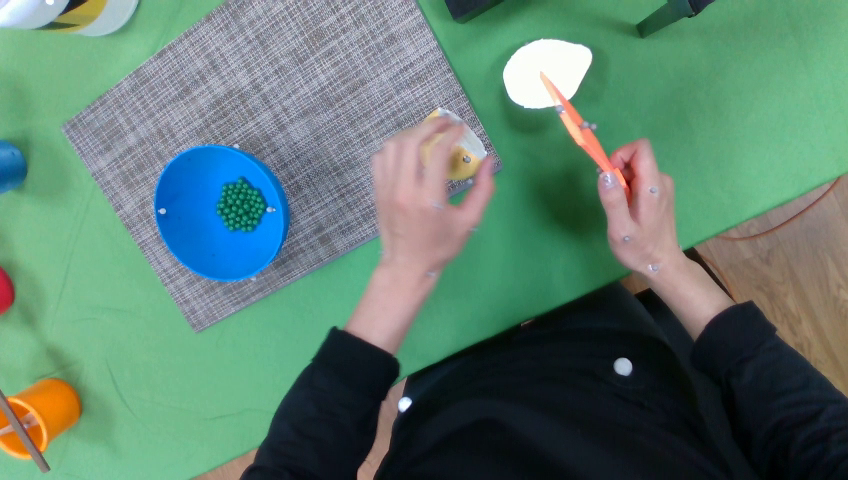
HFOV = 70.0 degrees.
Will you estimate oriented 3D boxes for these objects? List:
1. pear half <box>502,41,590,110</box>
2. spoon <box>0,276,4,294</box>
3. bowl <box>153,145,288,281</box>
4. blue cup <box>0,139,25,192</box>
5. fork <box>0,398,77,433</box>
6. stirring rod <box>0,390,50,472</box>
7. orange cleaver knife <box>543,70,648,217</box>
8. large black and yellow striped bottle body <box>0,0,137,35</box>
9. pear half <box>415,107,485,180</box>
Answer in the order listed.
[{"bbox_3d":[0.122,-0.164,0.609,0.088,0.031,0.070,-22,85,2],"label":"pear half"},{"bbox_3d":[-0.644,0.093,0.774,0.194,0.021,0.042,-28,102,-27],"label":"spoon"},{"bbox_3d":[-0.214,-0.036,0.683,0.151,0.076,0.152,3,106,11],"label":"bowl"},{"bbox_3d":[-0.543,-0.086,0.725,0.092,0.100,0.093,2,106,9],"label":"blue cup"},{"bbox_3d":[-0.576,0.255,0.802,0.208,0.018,0.028,-18,116,-29],"label":"fork"},{"bbox_3d":[-0.536,0.226,0.784,0.014,0.006,0.177,-23,100,15],"label":"stirring rod"},{"bbox_3d":[0.156,-0.078,0.537,0.012,0.213,0.076,-30,57,22],"label":"orange cleaver knife"},{"bbox_3d":[-0.393,-0.277,0.599,0.130,0.183,0.131,3,105,10],"label":"large black and yellow striped bottle body"},{"bbox_3d":[0.019,-0.089,0.606,0.076,0.109,0.056,43,109,2],"label":"pear half"}]
